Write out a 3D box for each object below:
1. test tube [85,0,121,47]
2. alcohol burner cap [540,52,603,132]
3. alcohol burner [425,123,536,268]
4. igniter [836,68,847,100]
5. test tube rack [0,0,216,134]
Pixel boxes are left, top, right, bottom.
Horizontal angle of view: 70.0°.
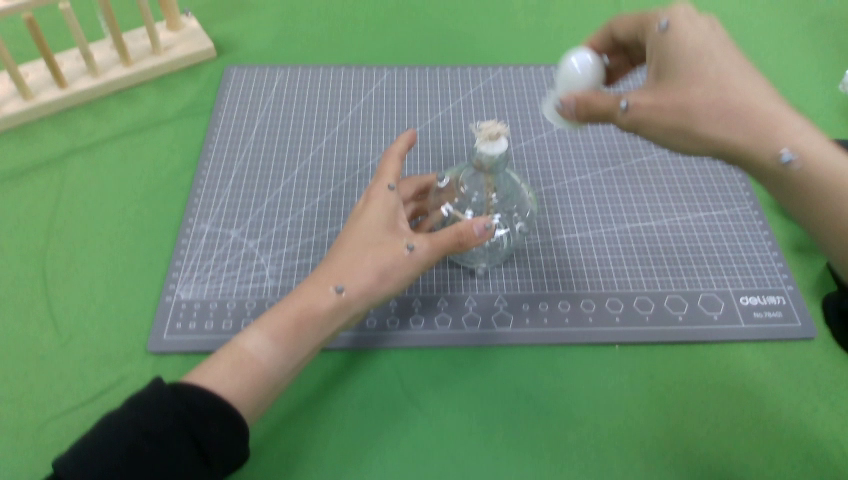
[{"bbox_3d":[-0.294,-0.236,0.514,0.017,0.151,0.017,-2,44,2],"label":"test tube"},{"bbox_3d":[0.093,-0.094,0.375,0.034,0.048,0.033,2,54,-2],"label":"alcohol burner cap"},{"bbox_3d":[0.040,-0.034,0.411,0.078,0.120,0.077,2,54,-2],"label":"alcohol burner"},{"bbox_3d":[0.347,-0.029,0.410,0.057,0.025,0.274,1,51,4],"label":"igniter"},{"bbox_3d":[-0.320,-0.171,0.530,0.242,0.086,0.066,-27,57,-20],"label":"test tube rack"}]
